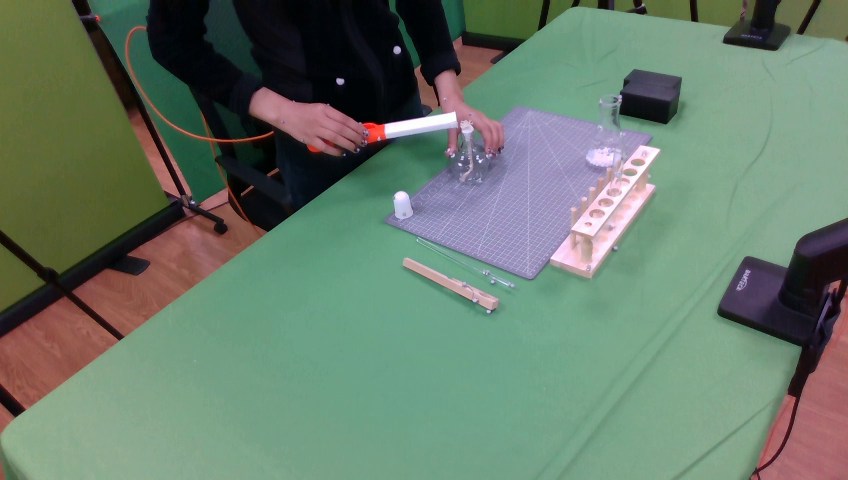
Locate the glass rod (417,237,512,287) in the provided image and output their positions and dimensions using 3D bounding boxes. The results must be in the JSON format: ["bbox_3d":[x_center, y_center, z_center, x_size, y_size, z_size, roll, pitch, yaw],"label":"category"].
[{"bbox_3d":[0.059,0.032,0.945,0.198,0.008,0.008,26,52,38],"label":"glass rod"}]

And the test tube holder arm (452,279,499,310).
[{"bbox_3d":[0.071,0.078,0.883,0.087,0.015,0.010,23,15,34],"label":"test tube holder arm"}]

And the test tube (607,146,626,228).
[{"bbox_3d":[0.283,-0.074,0.892,0.017,0.151,0.017,-5,44,6],"label":"test tube"}]

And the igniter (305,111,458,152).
[{"bbox_3d":[-0.078,-0.190,1.066,0.276,0.025,0.057,-8,45,7],"label":"igniter"}]

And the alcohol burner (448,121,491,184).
[{"bbox_3d":[0.081,-0.160,1.083,0.078,0.119,0.077,-4,40,4],"label":"alcohol burner"}]

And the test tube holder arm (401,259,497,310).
[{"bbox_3d":[0.034,0.064,0.903,0.177,0.015,0.013,23,15,33],"label":"test tube holder arm"}]

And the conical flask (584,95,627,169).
[{"bbox_3d":[0.324,-0.192,1.066,0.075,0.122,0.075,-6,40,5],"label":"conical flask"}]

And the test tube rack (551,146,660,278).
[{"bbox_3d":[0.286,-0.053,0.943,0.066,0.085,0.243,21,49,32],"label":"test tube rack"}]

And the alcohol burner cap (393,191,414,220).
[{"bbox_3d":[-0.037,-0.062,1.045,0.034,0.048,0.033,-5,41,5],"label":"alcohol burner cap"}]
